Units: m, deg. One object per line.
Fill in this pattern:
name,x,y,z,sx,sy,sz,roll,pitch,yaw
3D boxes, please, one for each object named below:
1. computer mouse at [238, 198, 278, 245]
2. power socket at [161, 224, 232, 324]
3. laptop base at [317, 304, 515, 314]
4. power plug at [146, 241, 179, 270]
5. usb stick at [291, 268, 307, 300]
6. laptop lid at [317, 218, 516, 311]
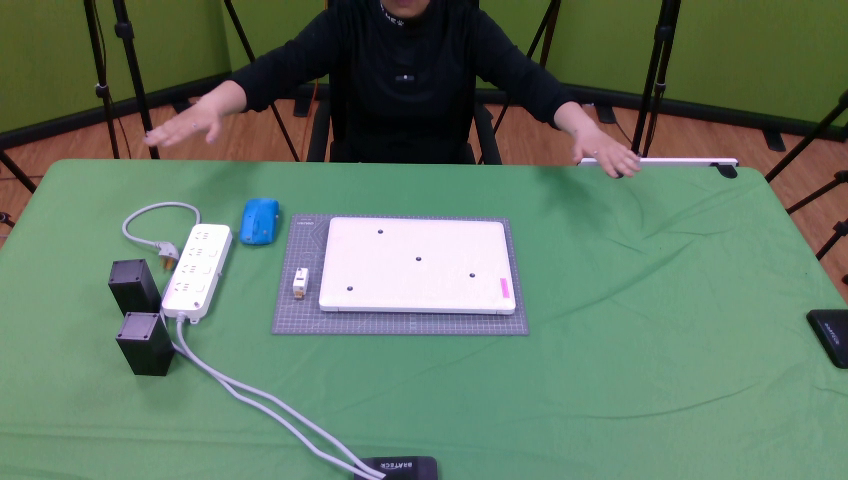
computer mouse,-0.328,-0.040,1.200,0.063,0.041,0.116,4,50,-4
power socket,-0.412,0.053,1.106,0.072,0.033,0.225,4,46,-1
laptop base,-0.014,0.049,1.150,0.354,0.023,0.234,1,42,-3
power plug,-0.489,0.030,1.130,0.072,0.035,0.052,0,64,26
usb stick,-0.227,0.081,1.093,0.021,0.027,0.059,5,48,-3
laptop lid,-0.013,0.040,1.143,0.357,0.013,0.240,3,43,-2
